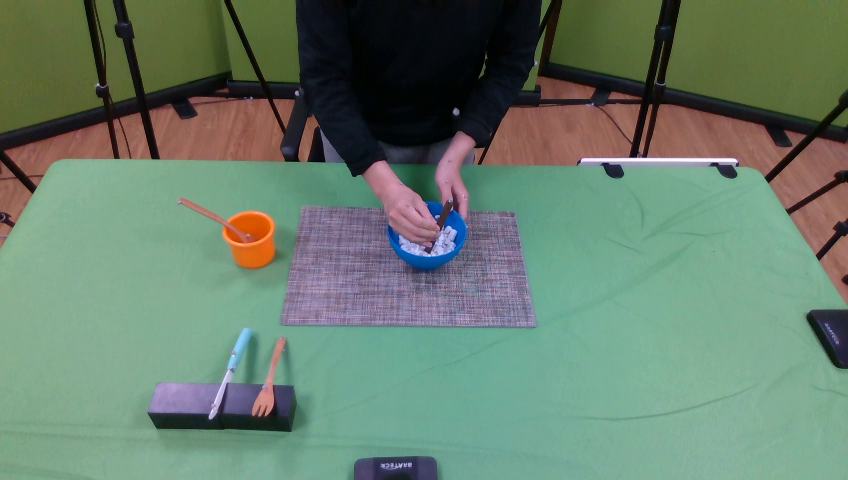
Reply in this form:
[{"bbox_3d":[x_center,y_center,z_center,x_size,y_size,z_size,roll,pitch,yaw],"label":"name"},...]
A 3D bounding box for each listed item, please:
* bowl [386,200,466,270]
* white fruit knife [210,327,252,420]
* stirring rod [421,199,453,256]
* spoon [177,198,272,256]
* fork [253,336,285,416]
[{"bbox_3d":[0.001,0.003,1.150,0.151,0.077,0.150,2,46,-2],"label":"bowl"},{"bbox_3d":[-0.298,0.200,0.937,0.016,0.027,0.206,0,30,0],"label":"white fruit knife"},{"bbox_3d":[0.021,-0.018,1.079,0.014,0.177,0.006,21,54,-2],"label":"stirring rod"},{"bbox_3d":[-0.361,-0.025,1.106,0.021,0.195,0.041,-32,37,28],"label":"spoon"},{"bbox_3d":[-0.236,0.206,0.938,0.028,0.019,0.206,-2,26,-3],"label":"fork"}]
